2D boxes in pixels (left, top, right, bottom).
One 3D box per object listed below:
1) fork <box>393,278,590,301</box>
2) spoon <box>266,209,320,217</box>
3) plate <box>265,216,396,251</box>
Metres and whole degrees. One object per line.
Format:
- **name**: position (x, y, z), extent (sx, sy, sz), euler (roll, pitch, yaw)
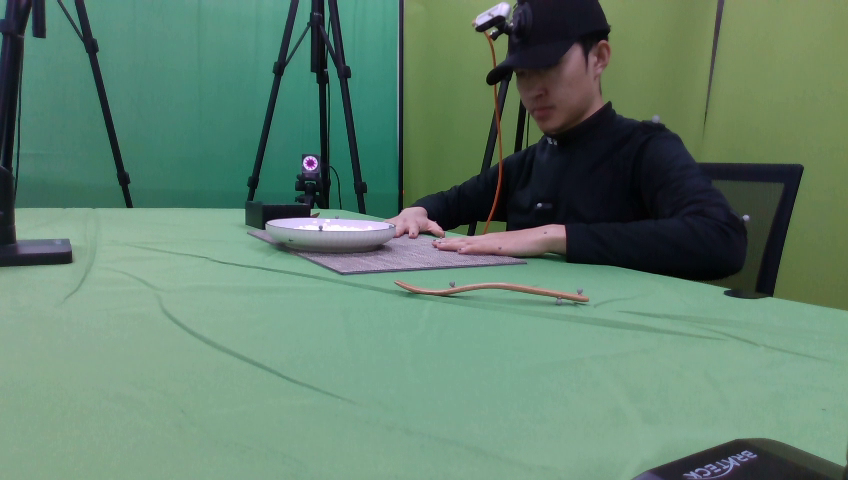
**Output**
- **fork**: position (0.070, 0.052, 0.640), extent (0.207, 0.018, 0.028), euler (1, -4, 5)
- **spoon**: position (-0.315, -0.064, 1.434), extent (0.193, 0.021, 0.042), euler (8, 25, 39)
- **plate**: position (-0.150, -0.011, 0.978), extent (0.209, 0.038, 0.209), euler (3, 7, 0)
